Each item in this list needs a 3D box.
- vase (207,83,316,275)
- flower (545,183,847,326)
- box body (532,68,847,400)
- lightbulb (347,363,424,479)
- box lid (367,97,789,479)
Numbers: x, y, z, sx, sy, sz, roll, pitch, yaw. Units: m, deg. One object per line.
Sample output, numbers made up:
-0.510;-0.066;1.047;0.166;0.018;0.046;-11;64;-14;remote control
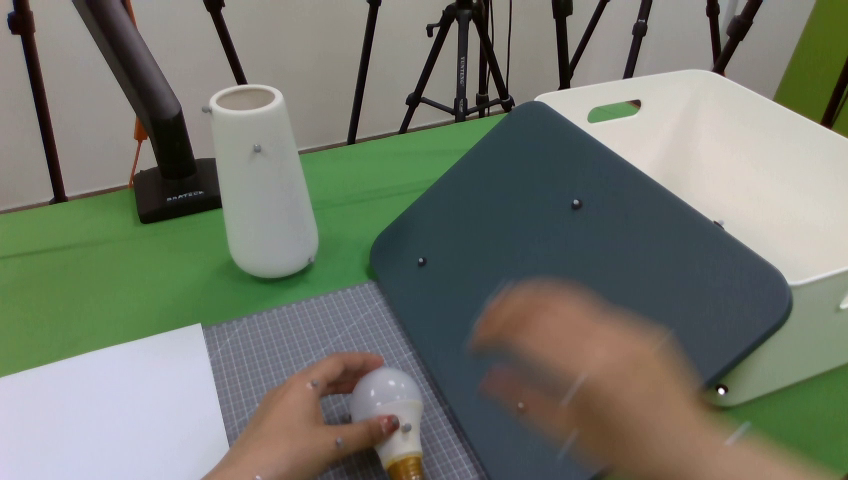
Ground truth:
-0.173;-0.060;0.643;0.098;0.202;0.097;-1;36;1;vase
0.302;0.016;0.690;0.359;0.038;0.044;28;38;26;flower
0.296;-0.032;0.641;0.255;0.162;0.359;-14;39;-17;box body
-0.026;0.150;0.485;0.060;0.060;0.106;-12;54;-15;lightbulb
0.096;0.024;0.555;0.263;0.015;0.367;-43;42;7;box lid
